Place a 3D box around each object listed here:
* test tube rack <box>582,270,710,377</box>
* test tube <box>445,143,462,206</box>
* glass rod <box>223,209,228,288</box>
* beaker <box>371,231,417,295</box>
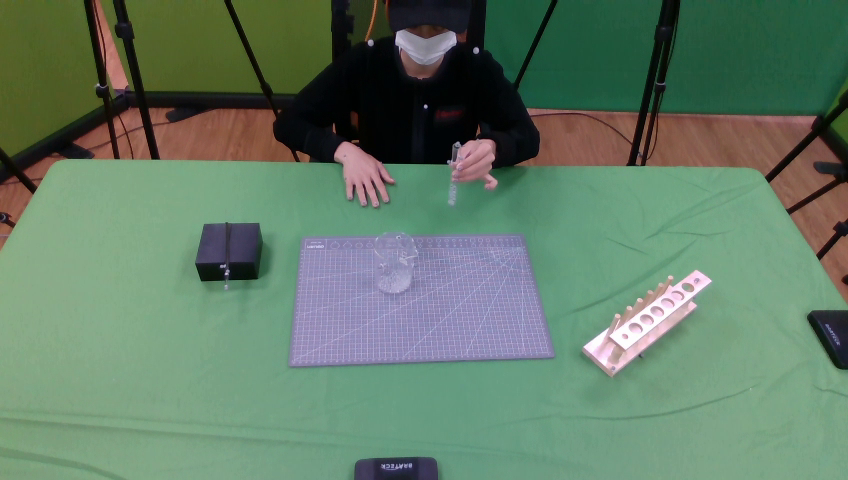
[{"bbox_3d":[0.389,0.132,1.057,0.242,0.085,0.066,-28,54,-28],"label":"test tube rack"},{"bbox_3d":[0.053,-0.115,1.097,0.017,0.151,0.017,3,50,-3],"label":"test tube"},{"bbox_3d":[-0.360,0.010,1.098,0.008,0.008,0.198,-7,47,-12],"label":"glass rod"},{"bbox_3d":[-0.054,0.045,1.093,0.084,0.101,0.073,17,47,10],"label":"beaker"}]
